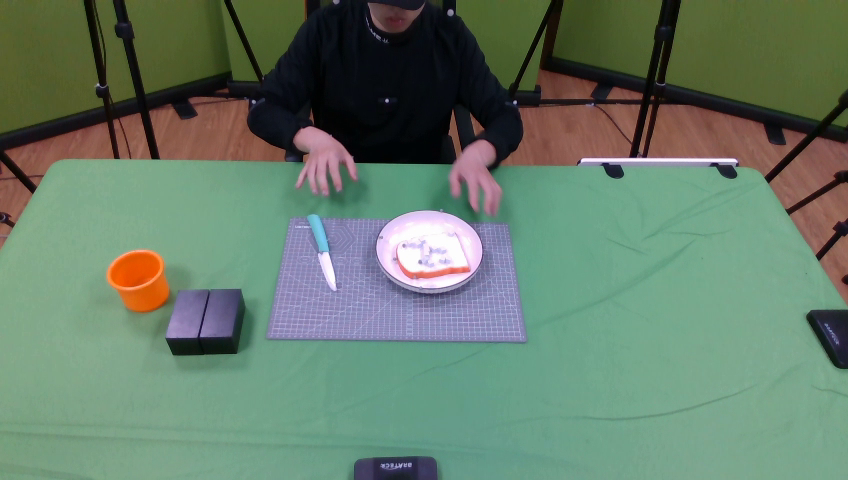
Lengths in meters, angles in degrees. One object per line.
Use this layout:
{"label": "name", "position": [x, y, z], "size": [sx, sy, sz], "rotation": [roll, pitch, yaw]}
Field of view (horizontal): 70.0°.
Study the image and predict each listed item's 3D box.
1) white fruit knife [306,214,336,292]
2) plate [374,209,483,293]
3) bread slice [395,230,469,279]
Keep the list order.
{"label": "white fruit knife", "position": [-0.195, 0.021, 1.164], "size": [0.027, 0.016, 0.206], "rotation": [-30, 51, 8]}
{"label": "plate", "position": [0.009, 0.024, 1.160], "size": [0.209, 0.038, 0.208], "rotation": [2, 46, -2]}
{"label": "bread slice", "position": [0.011, 0.029, 1.158], "size": [0.132, 0.019, 0.104], "rotation": [-9, 48, -14]}
